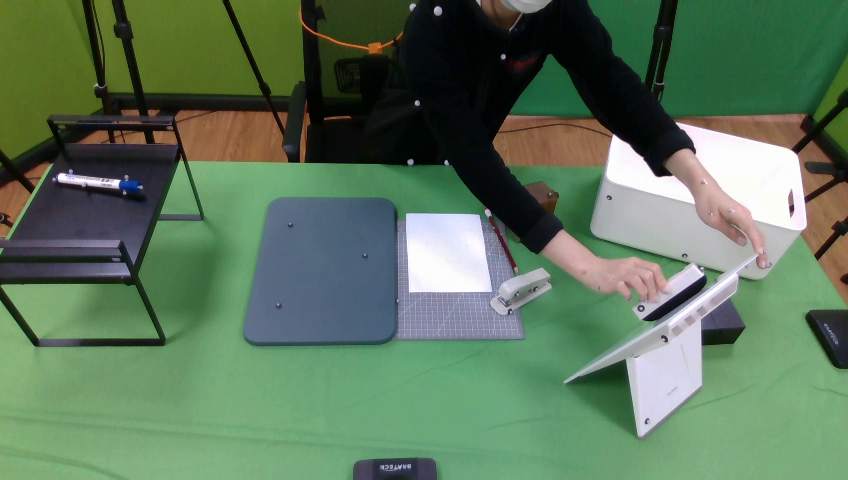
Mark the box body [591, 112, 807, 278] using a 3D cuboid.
[{"bbox_3d":[0.540,-0.092,1.229,0.363,0.161,0.253,16,47,11],"label":"box body"}]

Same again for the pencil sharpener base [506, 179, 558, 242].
[{"bbox_3d":[0.216,-0.059,1.211,0.077,0.107,0.061,-16,49,-19],"label":"pencil sharpener base"}]

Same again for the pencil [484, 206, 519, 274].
[{"bbox_3d":[0.156,-0.002,1.218,0.012,0.012,0.192,-9,48,-13],"label":"pencil"}]

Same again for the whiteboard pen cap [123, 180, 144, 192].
[{"bbox_3d":[-0.479,-0.089,0.993,0.033,0.018,0.018,7,46,14],"label":"whiteboard pen cap"}]

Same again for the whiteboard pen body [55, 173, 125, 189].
[{"bbox_3d":[-0.539,-0.095,0.998,0.141,0.017,0.017,6,46,6],"label":"whiteboard pen body"}]

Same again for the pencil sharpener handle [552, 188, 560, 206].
[{"bbox_3d":[0.261,-0.084,1.221,0.031,0.068,0.036,-16,66,-18],"label":"pencil sharpener handle"}]

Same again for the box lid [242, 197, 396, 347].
[{"bbox_3d":[-0.186,0.046,1.147,0.263,0.015,0.369,0,46,-3],"label":"box lid"}]

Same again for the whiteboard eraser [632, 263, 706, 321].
[{"bbox_3d":[0.369,0.081,0.910,0.041,0.113,0.056,53,18,10],"label":"whiteboard eraser"}]

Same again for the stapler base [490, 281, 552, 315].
[{"bbox_3d":[0.181,0.094,1.118,0.130,0.024,0.041,-24,57,-29],"label":"stapler base"}]

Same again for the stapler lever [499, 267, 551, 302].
[{"bbox_3d":[0.185,0.076,1.101,0.118,0.040,0.026,-24,57,-29],"label":"stapler lever"}]

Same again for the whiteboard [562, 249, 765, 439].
[{"bbox_3d":[0.387,0.176,0.905,0.217,0.306,0.143,-26,72,-26],"label":"whiteboard"}]
